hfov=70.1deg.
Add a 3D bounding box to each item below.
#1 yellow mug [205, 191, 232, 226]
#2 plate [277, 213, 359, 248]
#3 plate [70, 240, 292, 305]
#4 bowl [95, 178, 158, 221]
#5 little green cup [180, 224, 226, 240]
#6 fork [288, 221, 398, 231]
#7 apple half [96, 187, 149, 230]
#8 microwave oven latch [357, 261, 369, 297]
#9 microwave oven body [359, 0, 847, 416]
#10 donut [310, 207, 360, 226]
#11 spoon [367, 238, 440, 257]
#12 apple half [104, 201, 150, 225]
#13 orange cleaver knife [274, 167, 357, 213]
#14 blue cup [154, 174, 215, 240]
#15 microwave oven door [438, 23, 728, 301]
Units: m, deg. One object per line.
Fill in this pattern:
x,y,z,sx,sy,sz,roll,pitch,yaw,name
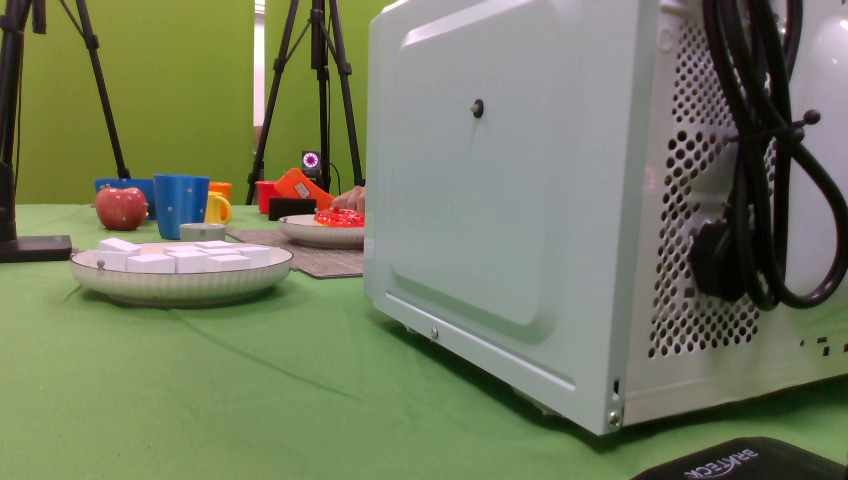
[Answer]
-0.415,-0.057,1.131,0.130,0.064,0.100,6,8,16,yellow mug
-0.135,-0.017,0.992,0.209,0.038,0.209,2,8,0,plate
-0.242,0.031,0.618,0.208,0.039,0.207,2,8,0,plate
-0.576,-0.081,1.217,0.151,0.077,0.151,3,8,0,bowl
-0.309,-0.001,0.846,0.061,0.038,0.061,2,8,0,little green cup
-0.147,-0.025,1.118,0.208,0.018,0.028,-3,-6,-23,fork
-0.516,-0.052,1.036,0.081,0.074,0.053,3,11,-26,apple half
-0.019,0.033,0.530,0.079,0.029,0.030,-1,7,-26,microwave oven latch
0.211,-0.047,0.474,0.444,0.260,0.324,-1,7,-28,microwave oven body
-0.137,-0.029,0.995,0.099,0.048,0.099,4,9,0,donut
-0.022,0.006,0.903,0.041,0.021,0.194,-21,-4,29,spoon
-0.548,-0.044,1.115,0.081,0.033,0.081,18,6,-2,apple half
-0.238,-0.090,1.381,0.212,0.077,0.012,31,0,-19,orange cleaver knife
-0.391,-0.053,0.978,0.093,0.100,0.092,4,6,0,blue cup
0.181,-0.072,0.620,0.358,0.243,0.039,-2,8,-29,microwave oven door
